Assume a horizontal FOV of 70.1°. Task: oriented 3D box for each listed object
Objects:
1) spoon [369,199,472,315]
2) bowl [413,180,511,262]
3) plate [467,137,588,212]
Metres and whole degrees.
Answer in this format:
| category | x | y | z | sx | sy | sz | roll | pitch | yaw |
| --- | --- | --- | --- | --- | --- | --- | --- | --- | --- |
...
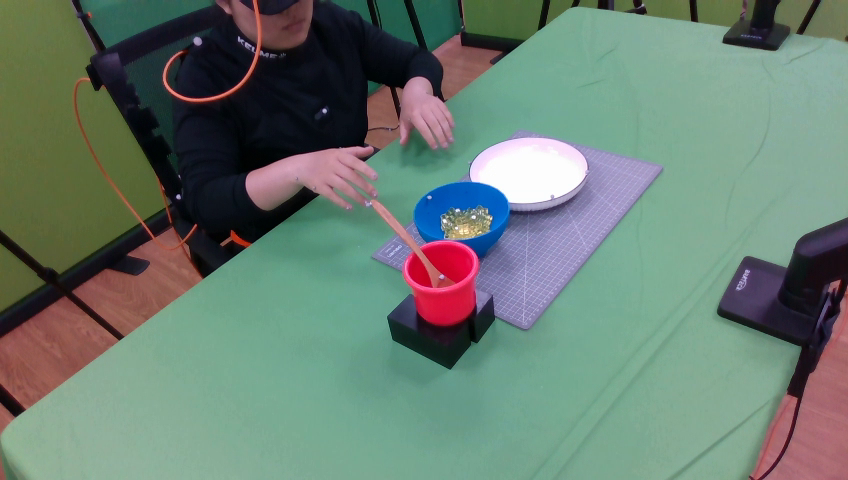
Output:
| category | x | y | z | sx | sy | sz | roll | pitch | yaw |
| --- | --- | --- | --- | --- | --- | --- | --- | --- | --- |
| spoon | -0.006 | 0.020 | 0.787 | 0.042 | 0.021 | 0.194 | -39 | 92 | -27 |
| bowl | 0.062 | -0.019 | 0.945 | 0.151 | 0.077 | 0.150 | -5 | 40 | 5 |
| plate | 0.181 | -0.112 | 1.064 | 0.207 | 0.039 | 0.206 | -5 | 40 | 5 |
